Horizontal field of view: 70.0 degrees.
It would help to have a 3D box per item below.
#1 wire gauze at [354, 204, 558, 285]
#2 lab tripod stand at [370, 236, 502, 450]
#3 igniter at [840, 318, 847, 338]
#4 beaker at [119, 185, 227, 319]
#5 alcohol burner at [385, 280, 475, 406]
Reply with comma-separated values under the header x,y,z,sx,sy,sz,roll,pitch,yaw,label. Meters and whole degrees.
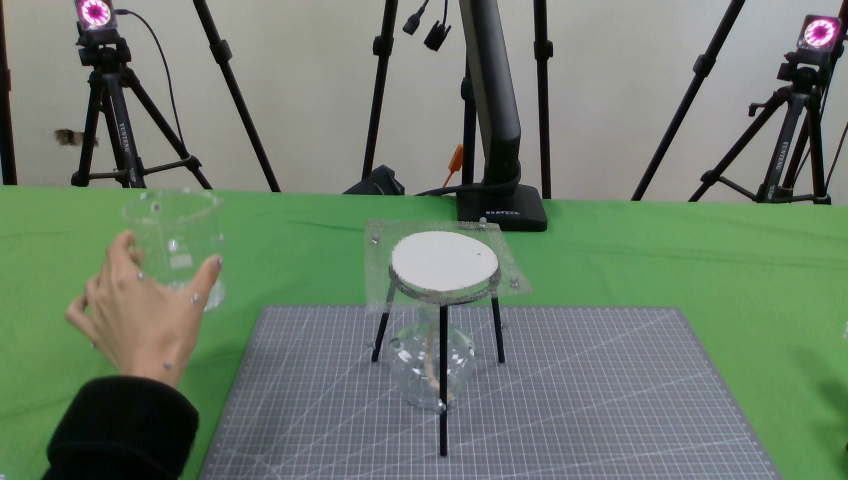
x,y,z,sx,sy,sz,roll,pitch,yaw,label
0.022,0.002,0.470,0.125,0.011,0.120,-6,27,-27,wire gauze
0.015,0.076,0.510,0.148,0.132,0.147,3,32,-1,lab tripod stand
0.403,0.141,0.437,0.057,0.025,0.274,0,28,-3,igniter
-0.212,0.010,0.531,0.084,0.101,0.073,-17,33,-32,beaker
0.006,0.083,0.517,0.078,0.120,0.077,3,31,-1,alcohol burner
